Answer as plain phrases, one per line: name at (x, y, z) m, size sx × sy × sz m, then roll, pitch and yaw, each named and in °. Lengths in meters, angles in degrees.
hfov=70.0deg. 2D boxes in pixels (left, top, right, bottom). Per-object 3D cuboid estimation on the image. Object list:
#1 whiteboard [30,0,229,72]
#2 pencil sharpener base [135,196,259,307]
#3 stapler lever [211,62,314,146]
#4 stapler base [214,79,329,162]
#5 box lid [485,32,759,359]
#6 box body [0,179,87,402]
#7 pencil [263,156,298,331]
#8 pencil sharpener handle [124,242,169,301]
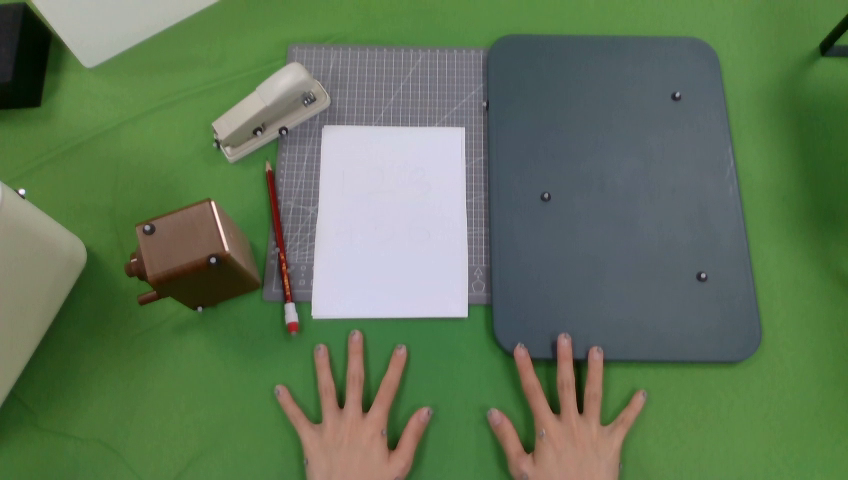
whiteboard at (-0.356, -0.377, 0.619) m, size 0.217 × 0.308 × 0.142 m, roll -32°, pitch 55°, yaw -10°
pencil sharpener base at (-0.208, 0.015, 0.563) m, size 0.077 × 0.107 × 0.061 m, roll -21°, pitch 73°, yaw -6°
stapler lever at (-0.169, -0.143, 0.631) m, size 0.118 × 0.040 × 0.026 m, roll -33°, pitch 70°, yaw -7°
stapler base at (-0.166, -0.136, 0.654) m, size 0.130 × 0.024 × 0.041 m, roll -33°, pitch 71°, yaw -7°
box lid at (0.198, -0.062, 0.639) m, size 0.263 × 0.015 × 0.369 m, roll 1°, pitch 72°, yaw -1°
box body at (-0.533, 0.024, 0.529) m, size 0.363 × 0.161 × 0.253 m, roll 21°, pitch 73°, yaw 7°
pencil at (-0.149, -0.001, 0.618) m, size 0.012 × 0.012 × 0.192 m, roll -13°, pitch 72°, yaw -4°
pencil sharpener handle at (-0.255, 0.033, 0.543) m, size 0.030 × 0.068 × 0.035 m, roll -21°, pitch 56°, yaw -6°
